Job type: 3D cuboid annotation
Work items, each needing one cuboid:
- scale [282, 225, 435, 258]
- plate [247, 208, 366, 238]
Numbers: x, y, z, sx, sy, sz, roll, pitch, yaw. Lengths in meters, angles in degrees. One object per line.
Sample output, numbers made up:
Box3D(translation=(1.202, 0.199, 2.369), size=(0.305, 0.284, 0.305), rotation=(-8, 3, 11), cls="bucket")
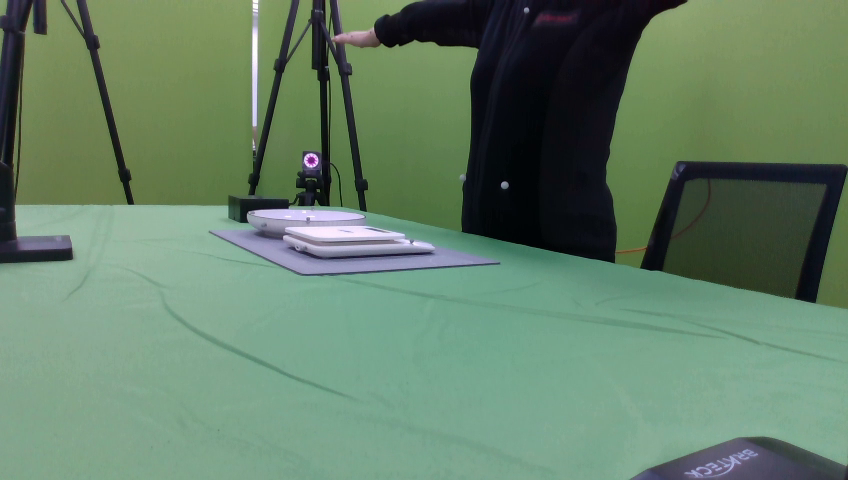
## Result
Box3D(translation=(-0.098, 0.000, 0.914), size=(0.202, 0.031, 0.148), rotation=(-2, 9, -33), cls="scale")
Box3D(translation=(-0.208, -0.030, 1.082), size=(0.209, 0.038, 0.209), rotation=(2, 7, 0), cls="plate")
